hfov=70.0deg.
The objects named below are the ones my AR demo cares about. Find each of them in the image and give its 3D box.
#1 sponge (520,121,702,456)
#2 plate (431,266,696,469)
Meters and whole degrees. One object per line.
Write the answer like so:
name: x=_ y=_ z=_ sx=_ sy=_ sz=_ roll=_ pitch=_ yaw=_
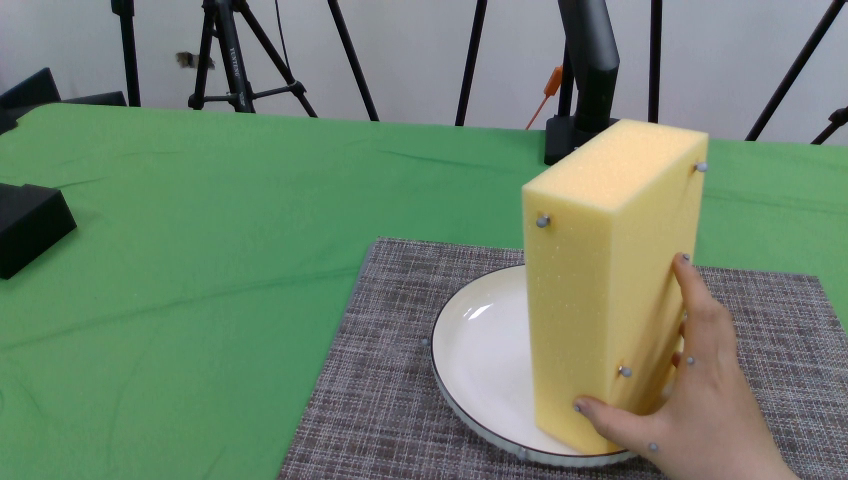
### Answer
sponge: x=0.129 y=0.037 z=0.420 sx=0.060 sy=0.209 sz=0.118 roll=21 pitch=44 yaw=39
plate: x=0.109 y=0.099 z=0.498 sx=0.208 sy=0.039 sz=0.205 roll=-1 pitch=37 yaw=1
